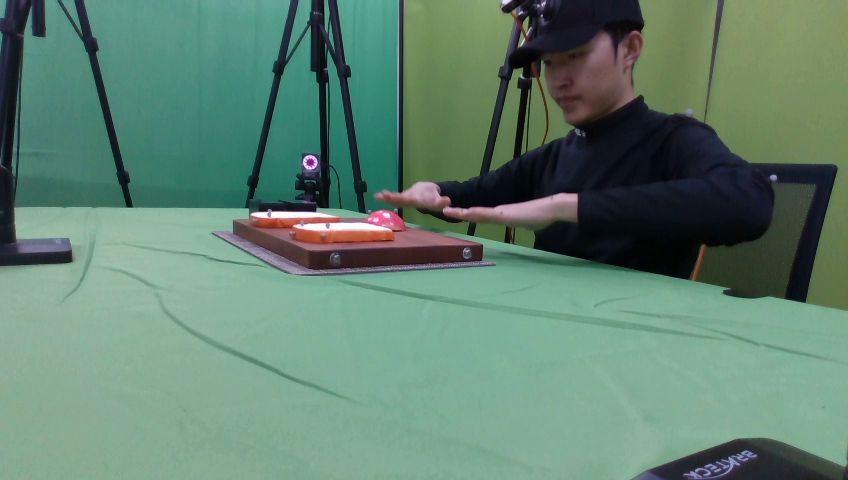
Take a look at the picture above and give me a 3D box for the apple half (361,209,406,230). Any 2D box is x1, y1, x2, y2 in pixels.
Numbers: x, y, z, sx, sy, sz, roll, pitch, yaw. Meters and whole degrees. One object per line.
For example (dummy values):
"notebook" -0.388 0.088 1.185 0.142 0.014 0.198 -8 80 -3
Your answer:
"apple half" -0.065 -0.035 1.010 0.081 0.033 0.081 2 4 0

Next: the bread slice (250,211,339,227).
"bread slice" -0.223 -0.035 1.021 0.135 0.018 0.106 -3 9 -33

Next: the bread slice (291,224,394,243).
"bread slice" -0.122 -0.011 0.869 0.132 0.019 0.104 -1 7 -32
